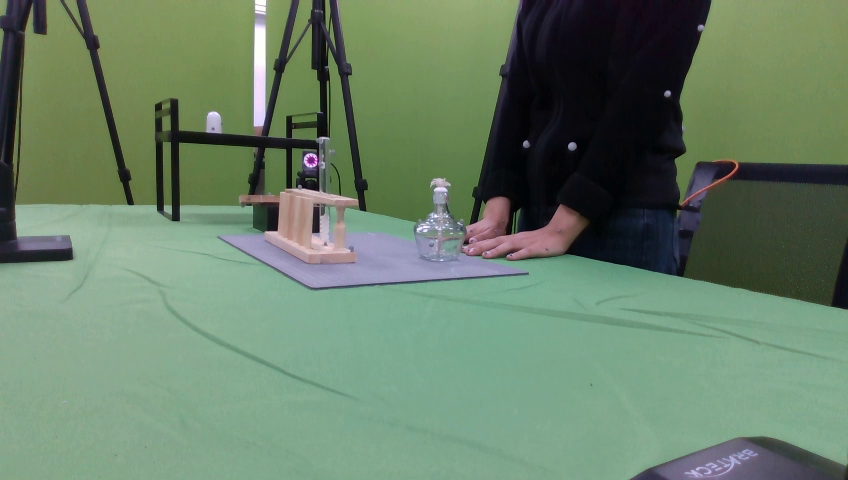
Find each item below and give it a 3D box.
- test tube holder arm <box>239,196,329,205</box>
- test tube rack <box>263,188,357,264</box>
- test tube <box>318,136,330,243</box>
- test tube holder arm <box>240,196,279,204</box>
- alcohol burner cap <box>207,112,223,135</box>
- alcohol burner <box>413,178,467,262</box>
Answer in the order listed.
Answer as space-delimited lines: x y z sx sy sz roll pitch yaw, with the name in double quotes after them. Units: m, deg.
-0.263 -0.076 1.155 0.179 0.015 0.013 -1 4 -36 "test tube holder arm"
-0.175 -0.027 0.890 0.067 0.085 0.241 0 8 -28 "test tube rack"
-0.142 -0.070 0.852 0.017 0.150 0.017 1 7 0 "test tube"
-0.296 -0.075 1.124 0.088 0.015 0.010 -1 4 -35 "test tube holder arm"
-0.440 -0.245 1.271 0.034 0.048 0.034 1 7 0 "alcohol burner cap"
0.022 -0.029 0.864 0.078 0.119 0.078 1 6 0 "alcohol burner"
